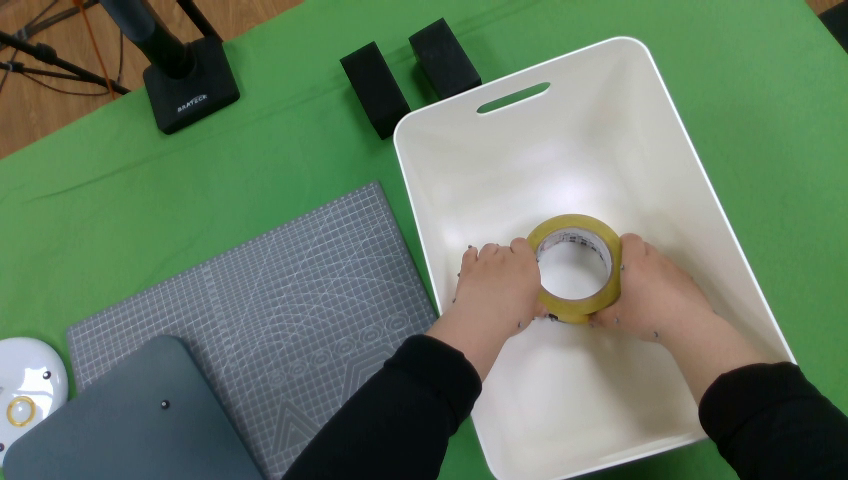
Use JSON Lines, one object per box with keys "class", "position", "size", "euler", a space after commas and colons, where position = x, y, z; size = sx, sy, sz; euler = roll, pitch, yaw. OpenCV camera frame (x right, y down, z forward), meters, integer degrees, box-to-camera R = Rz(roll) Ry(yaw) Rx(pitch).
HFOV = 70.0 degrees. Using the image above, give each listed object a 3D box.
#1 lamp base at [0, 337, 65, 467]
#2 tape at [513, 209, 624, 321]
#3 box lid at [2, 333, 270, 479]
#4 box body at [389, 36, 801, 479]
{"class": "lamp base", "position": [-0.551, 0.176, 0.691], "size": [0.178, 0.181, 0.160], "euler": [13, 76, 18]}
{"class": "tape", "position": [0.154, 0.027, 0.652], "size": [0.116, 0.053, 0.116], "euler": [-3, 74, 9]}
{"class": "box lid", "position": [-0.302, 0.314, 0.682], "size": [0.263, 0.015, 0.369], "euler": [-38, 73, -3]}
{"class": "box body", "position": [0.143, 0.022, 0.603], "size": [0.254, 0.161, 0.361], "euler": [-19, 71, 6]}
